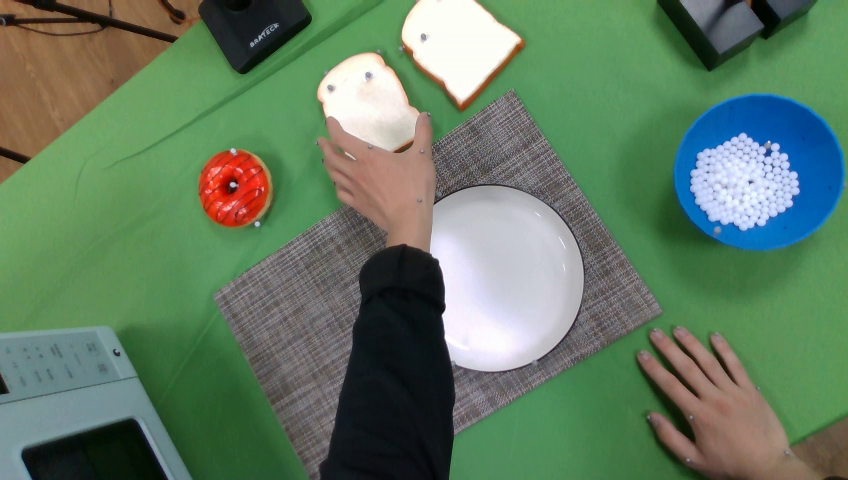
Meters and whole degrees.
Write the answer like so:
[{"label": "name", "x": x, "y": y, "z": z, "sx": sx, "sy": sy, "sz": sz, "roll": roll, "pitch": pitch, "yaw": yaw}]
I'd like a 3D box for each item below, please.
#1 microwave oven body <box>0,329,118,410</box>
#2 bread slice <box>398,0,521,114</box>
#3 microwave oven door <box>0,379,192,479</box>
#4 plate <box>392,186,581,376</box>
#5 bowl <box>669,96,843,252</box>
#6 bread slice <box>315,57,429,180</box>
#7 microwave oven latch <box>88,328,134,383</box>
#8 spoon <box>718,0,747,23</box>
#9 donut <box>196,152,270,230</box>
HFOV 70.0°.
[{"label": "microwave oven body", "x": -0.446, "y": 0.369, "z": 0.656, "sx": 0.326, "sy": 0.261, "sz": 0.440, "roll": -35, "pitch": 80, "yaw": 8}, {"label": "bread slice", "x": 0.032, "y": -0.229, "z": 0.717, "sx": 0.131, "sy": 0.019, "sz": 0.105, "roll": 44, "pitch": 95, "yaw": 11}, {"label": "microwave oven door", "x": -0.305, "y": 0.320, "z": 0.623, "sx": 0.039, "sy": 0.245, "sz": 0.354, "roll": -35, "pitch": 79, "yaw": 8}, {"label": "plate", "x": 0.069, "y": 0.046, "z": 0.676, "sx": 0.207, "sy": 0.039, "sz": 0.207, "roll": -1, "pitch": 86, "yaw": 13}, {"label": "bowl", "x": 0.321, "y": -0.060, "z": 0.609, "sx": 0.151, "sy": 0.077, "sz": 0.151, "roll": -1, "pitch": 86, "yaw": 13}, {"label": "bread slice", "x": -0.072, "y": -0.152, "z": 0.735, "sx": 0.107, "sy": 0.018, "sz": 0.134, "roll": -34, "pitch": 81, "yaw": 8}, {"label": "microwave oven latch", "x": -0.399, "y": 0.148, "z": 0.760, "sx": 0.030, "sy": 0.029, "sz": 0.079, "roll": -34, "pitch": 80, "yaw": 8}, {"label": "spoon", "x": 0.291, "y": -0.247, "z": 0.569, "sx": 0.021, "sy": 0.194, "sz": 0.041, "roll": -33, "pitch": 77, "yaw": 23}, {"label": "donut", "x": -0.238, "y": -0.060, "z": 0.753, "sx": 0.099, "sy": 0.048, "sz": 0.099, "roll": -1, "pitch": 87, "yaw": 15}]
